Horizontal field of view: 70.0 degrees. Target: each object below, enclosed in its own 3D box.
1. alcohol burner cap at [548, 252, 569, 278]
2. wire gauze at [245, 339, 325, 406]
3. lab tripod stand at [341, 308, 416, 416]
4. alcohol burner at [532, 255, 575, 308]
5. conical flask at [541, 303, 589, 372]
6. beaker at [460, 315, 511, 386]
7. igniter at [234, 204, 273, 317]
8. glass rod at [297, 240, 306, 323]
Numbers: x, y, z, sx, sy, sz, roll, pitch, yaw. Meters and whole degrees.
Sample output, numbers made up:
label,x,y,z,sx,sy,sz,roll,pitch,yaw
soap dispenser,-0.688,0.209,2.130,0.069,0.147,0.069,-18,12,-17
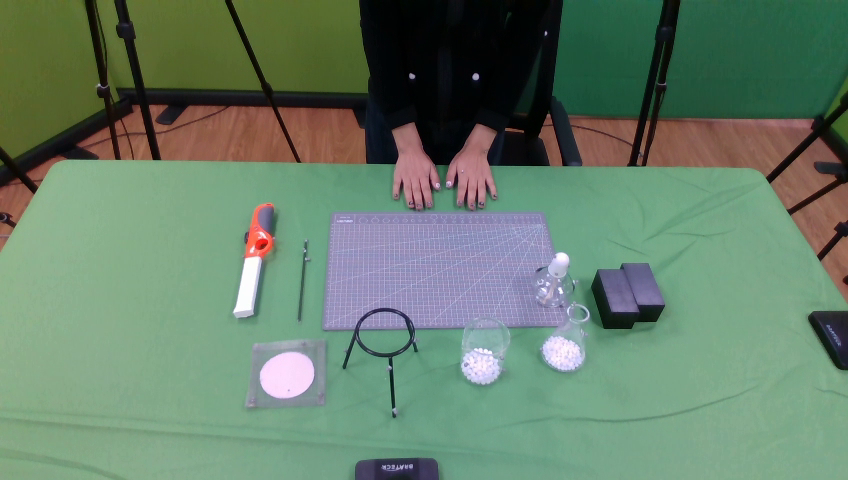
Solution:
label,x,y,z,sx,sy,sz,roll,pitch,yaw
alcohol burner cap,0.238,0.042,1.060,0.034,0.048,0.033,1,52,-1
wire gauze,-0.224,0.214,0.984,0.125,0.011,0.120,-2,46,-5
lab tripod stand,-0.061,0.177,0.946,0.148,0.132,0.147,2,44,-2
alcohol burner,0.235,0.066,1.087,0.078,0.119,0.077,4,45,-3
conical flask,0.240,0.156,0.998,0.075,0.122,0.075,2,46,-2
beaker,0.094,0.183,0.977,0.084,0.101,0.073,-20,51,-21
igniter,-0.321,0.029,1.142,0.057,0.025,0.274,-7,46,3
glass rod,-0.226,0.072,1.122,0.008,0.008,0.198,-2,46,-5
